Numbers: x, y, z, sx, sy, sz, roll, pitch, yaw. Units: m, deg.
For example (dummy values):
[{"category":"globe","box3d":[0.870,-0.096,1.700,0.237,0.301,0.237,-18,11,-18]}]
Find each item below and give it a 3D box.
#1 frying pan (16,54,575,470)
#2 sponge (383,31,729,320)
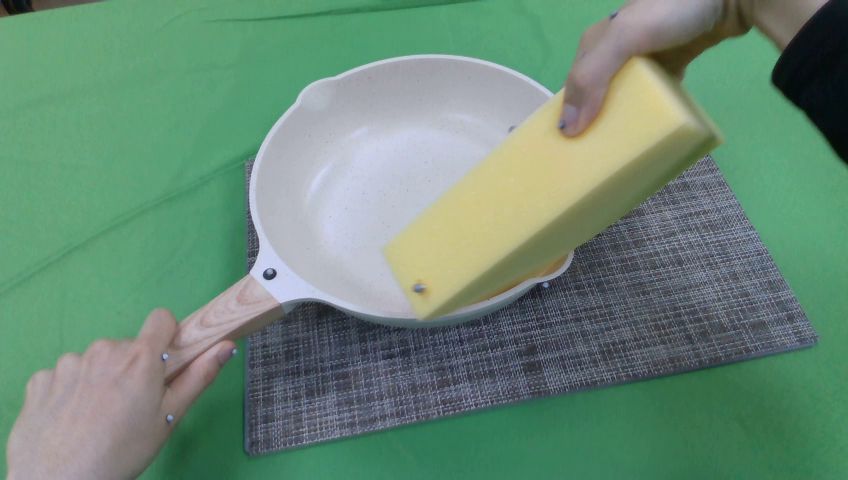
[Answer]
[{"category":"frying pan","box3d":[-0.076,0.006,0.488,0.488,0.103,0.304,-35,59,-28]},{"category":"sponge","box3d":[0.085,-0.031,0.406,0.207,0.119,0.060,-41,70,29]}]
